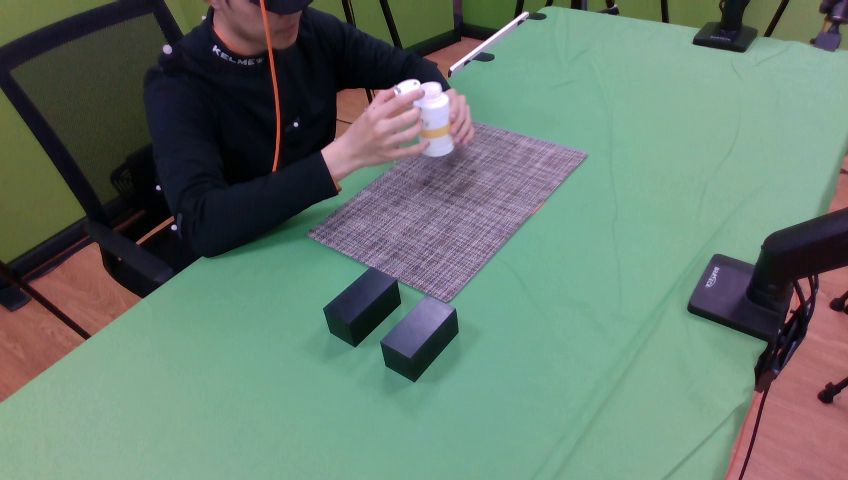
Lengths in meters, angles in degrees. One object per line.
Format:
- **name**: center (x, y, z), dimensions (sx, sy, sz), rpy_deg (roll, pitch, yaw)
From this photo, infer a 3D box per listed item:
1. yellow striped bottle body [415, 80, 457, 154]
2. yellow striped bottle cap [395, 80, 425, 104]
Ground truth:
- **yellow striped bottle body**: center (0.020, -0.215, 1.050), dimensions (0.063, 0.121, 0.062), rpy_deg (-7, 39, 6)
- **yellow striped bottle cap**: center (-0.023, -0.234, 0.957), dimensions (0.044, 0.019, 0.044), rpy_deg (-13, 41, 12)
